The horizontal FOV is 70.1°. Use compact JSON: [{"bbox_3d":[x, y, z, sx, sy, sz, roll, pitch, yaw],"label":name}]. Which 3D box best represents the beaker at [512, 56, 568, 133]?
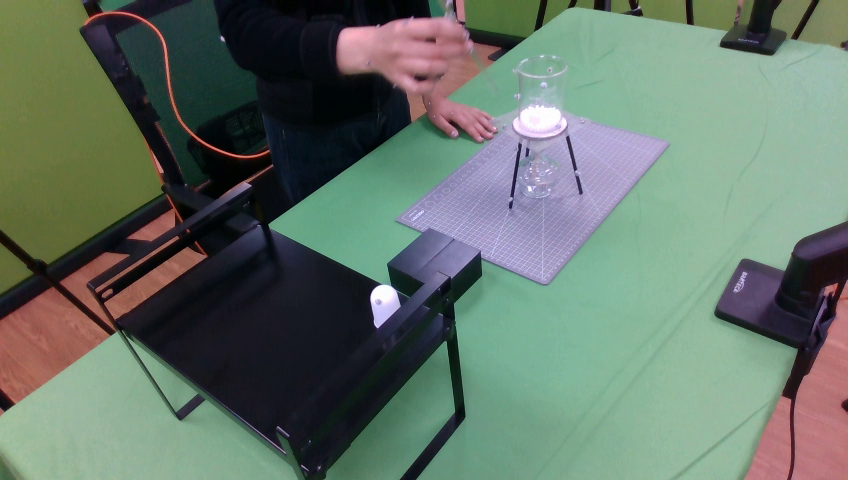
[{"bbox_3d":[0.181,-0.225,0.946,0.084,0.101,0.074,3,41,12],"label":"beaker"}]

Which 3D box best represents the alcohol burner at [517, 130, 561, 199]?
[{"bbox_3d":[0.193,-0.131,1.026,0.078,0.119,0.077,-4,38,4],"label":"alcohol burner"}]

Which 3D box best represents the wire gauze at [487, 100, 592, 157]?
[{"bbox_3d":[0.185,-0.187,0.975,0.122,0.011,0.124,-28,46,-22],"label":"wire gauze"}]

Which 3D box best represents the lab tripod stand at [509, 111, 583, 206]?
[{"bbox_3d":[0.198,-0.140,1.020,0.148,0.132,0.147,-3,39,3],"label":"lab tripod stand"}]

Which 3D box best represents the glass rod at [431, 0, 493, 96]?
[{"bbox_3d":[0.052,-0.236,0.754,0.008,0.201,0.008,-10,66,23],"label":"glass rod"}]

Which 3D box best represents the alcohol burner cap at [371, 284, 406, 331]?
[{"bbox_3d":[-0.037,0.065,0.608,0.034,0.048,0.033,-4,41,4],"label":"alcohol burner cap"}]
